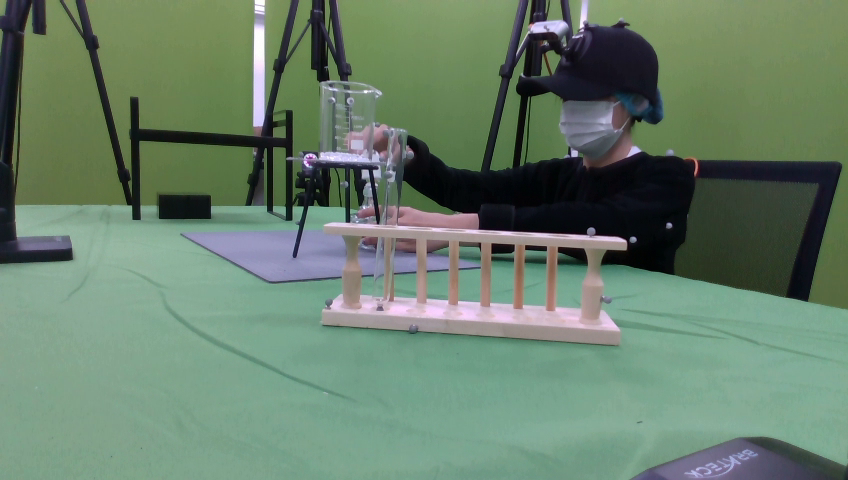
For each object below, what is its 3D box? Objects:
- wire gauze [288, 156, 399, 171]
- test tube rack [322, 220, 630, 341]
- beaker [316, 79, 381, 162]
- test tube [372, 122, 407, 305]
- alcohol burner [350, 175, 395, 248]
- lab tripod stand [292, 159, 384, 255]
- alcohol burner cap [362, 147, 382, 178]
[{"bbox_3d":[-0.101,-0.103,0.788,0.121,0.011,0.125,5,4,5],"label":"wire gauze"},{"bbox_3d":[0.041,0.029,0.512,0.242,0.085,0.067,3,7,5],"label":"test tube rack"},{"bbox_3d":[-0.098,-0.151,0.778,0.084,0.100,0.074,4,7,6],"label":"beaker"},{"bbox_3d":[-0.029,-0.020,0.493,0.017,0.150,0.017,6,9,-1],"label":"test tube"},{"bbox_3d":[-0.084,-0.048,0.953,0.078,0.119,0.078,1,6,0],"label":"alcohol burner"},{"bbox_3d":[-0.105,-0.039,0.797,0.148,0.131,0.148,2,5,0],"label":"lab tripod stand"},{"bbox_3d":[-0.081,-0.122,0.946,0.034,0.048,0.034,-1,0,0],"label":"alcohol burner cap"}]
